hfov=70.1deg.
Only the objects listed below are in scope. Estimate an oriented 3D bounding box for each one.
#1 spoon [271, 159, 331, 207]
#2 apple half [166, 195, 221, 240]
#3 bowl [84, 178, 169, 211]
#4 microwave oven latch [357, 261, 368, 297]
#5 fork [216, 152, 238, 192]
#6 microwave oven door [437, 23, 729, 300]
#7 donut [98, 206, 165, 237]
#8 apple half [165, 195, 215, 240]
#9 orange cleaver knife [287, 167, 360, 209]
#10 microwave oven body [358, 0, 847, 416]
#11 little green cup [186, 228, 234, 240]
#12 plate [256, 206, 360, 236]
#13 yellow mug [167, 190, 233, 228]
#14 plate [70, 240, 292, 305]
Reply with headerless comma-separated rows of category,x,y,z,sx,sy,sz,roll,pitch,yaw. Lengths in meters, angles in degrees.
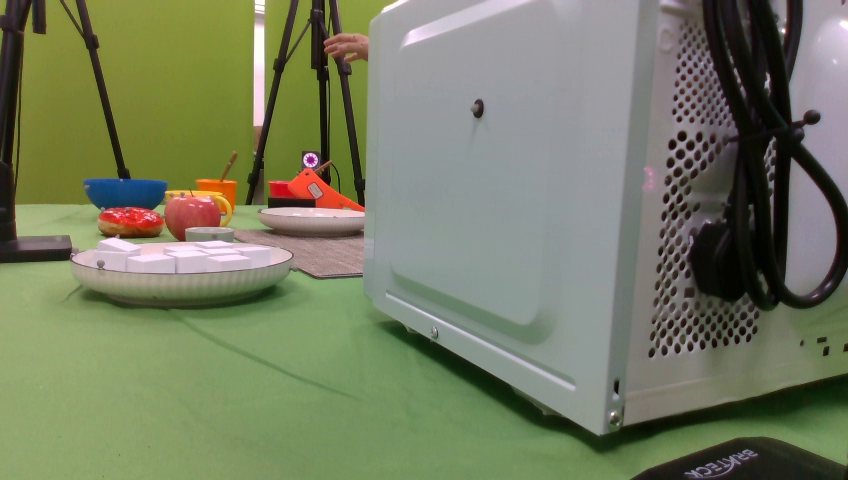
spoon,-0.307,-0.141,1.513,0.193,0.021,0.041,-41,4,8
apple half,-0.351,-0.031,0.935,0.081,0.074,0.053,1,11,-40
bowl,-0.584,-0.078,1.194,0.151,0.077,0.151,3,8,0
microwave oven latch,-0.019,0.033,0.530,0.079,0.029,0.030,0,7,-26
fork,-0.455,-0.132,1.367,0.028,0.018,0.207,-2,-35,-37
microwave oven door,0.181,-0.072,0.621,0.358,0.243,0.039,-2,9,-29
donut,-0.472,-0.028,0.979,0.099,0.048,0.099,5,8,0
apple half,-0.377,-0.038,0.964,0.082,0.081,0.032,-4,15,-39
orange cleaver knife,-0.209,-0.089,1.383,0.212,0.077,0.012,31,3,-15
microwave oven body,0.211,-0.047,0.474,0.444,0.260,0.324,-1,8,-28
little green cup,-0.284,0.005,0.805,0.061,0.038,0.061,2,8,0
plate,-0.202,-0.037,1.120,0.209,0.038,0.209,2,8,0
yellow mug,-0.415,-0.057,1.132,0.130,0.064,0.100,6,8,16
plate,-0.242,0.031,0.618,0.208,0.039,0.207,2,8,0
